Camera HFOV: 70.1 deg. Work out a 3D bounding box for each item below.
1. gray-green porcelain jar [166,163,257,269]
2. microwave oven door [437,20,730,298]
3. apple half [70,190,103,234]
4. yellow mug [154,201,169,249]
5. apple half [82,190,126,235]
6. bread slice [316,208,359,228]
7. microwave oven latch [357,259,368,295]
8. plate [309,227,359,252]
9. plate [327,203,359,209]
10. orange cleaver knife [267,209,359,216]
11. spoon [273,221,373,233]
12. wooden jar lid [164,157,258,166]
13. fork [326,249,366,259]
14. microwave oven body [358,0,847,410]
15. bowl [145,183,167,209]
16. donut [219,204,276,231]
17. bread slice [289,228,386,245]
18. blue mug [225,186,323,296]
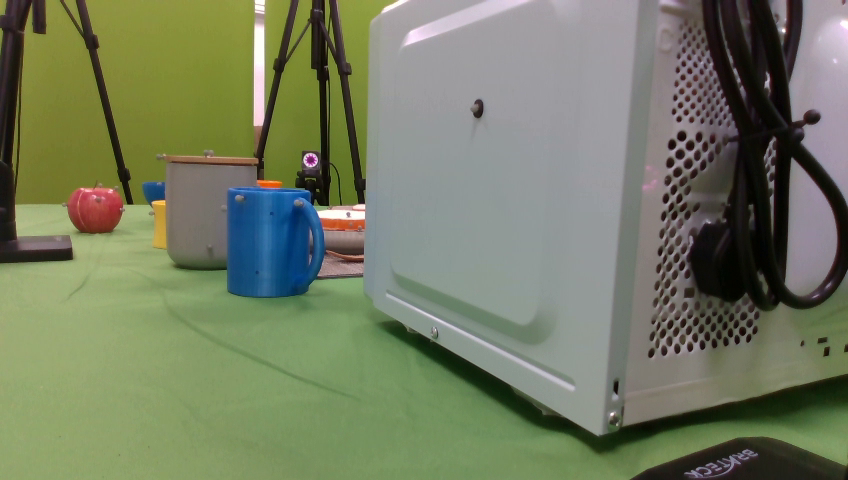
[{"bbox_3d":[-0.263,-0.031,0.754,0.106,0.126,0.106,2,7,0],"label":"gray-green porcelain jar"},{"bbox_3d":[0.181,-0.076,0.618,0.358,0.243,0.039,-2,8,-28],"label":"microwave oven door"},{"bbox_3d":[-0.552,-0.047,1.009,0.053,0.074,0.081,-1,9,26],"label":"apple half"},{"bbox_3d":[-0.338,-0.022,0.899,0.130,0.064,0.100,8,9,34],"label":"yellow mug"},{"bbox_3d":[-0.516,-0.046,0.994,0.032,0.081,0.081,0,6,26],"label":"apple half"},{"bbox_3d":[-0.127,-0.035,0.933,0.134,0.018,0.107,3,10,28],"label":"bread slice"},{"bbox_3d":[-0.019,0.031,0.529,0.079,0.029,0.030,-1,7,-26],"label":"microwave oven latch"},{"bbox_3d":[-0.130,-0.011,0.945,0.208,0.039,0.207,2,7,0],"label":"plate"},{"bbox_3d":[-0.102,-0.053,1.299,0.209,0.038,0.209,2,8,0],"label":"plate"},{"bbox_3d":[-0.259,-0.064,1.423,0.212,0.012,0.077,-4,3,-30],"label":"orange cleaver knife"},{"bbox_3d":[-0.180,-0.027,1.109,0.195,0.021,0.041,-4,-15,-33],"label":"spoon"},{"bbox_3d":[-0.261,-0.093,0.746,0.108,0.020,0.108,0,9,0],"label":"wooden jar lid"},{"bbox_3d":[-0.032,0.015,0.835,0.208,0.018,0.028,-3,-1,-23],"label":"fork"},{"bbox_3d":[0.210,-0.051,0.471,0.444,0.260,0.324,-1,7,-28],"label":"microwave oven body"},{"bbox_3d":[-0.459,-0.068,1.175,0.151,0.077,0.151,2,7,0],"label":"bowl"},{"bbox_3d":[-0.316,-0.039,1.083,0.099,0.048,0.099,2,7,0],"label":"donut"},{"bbox_3d":[-0.125,-0.007,0.938,0.131,0.019,0.105,3,6,31],"label":"bread slice"},{"bbox_3d":[-0.148,0.000,0.618,0.116,0.106,0.083,7,9,33],"label":"blue mug"}]
